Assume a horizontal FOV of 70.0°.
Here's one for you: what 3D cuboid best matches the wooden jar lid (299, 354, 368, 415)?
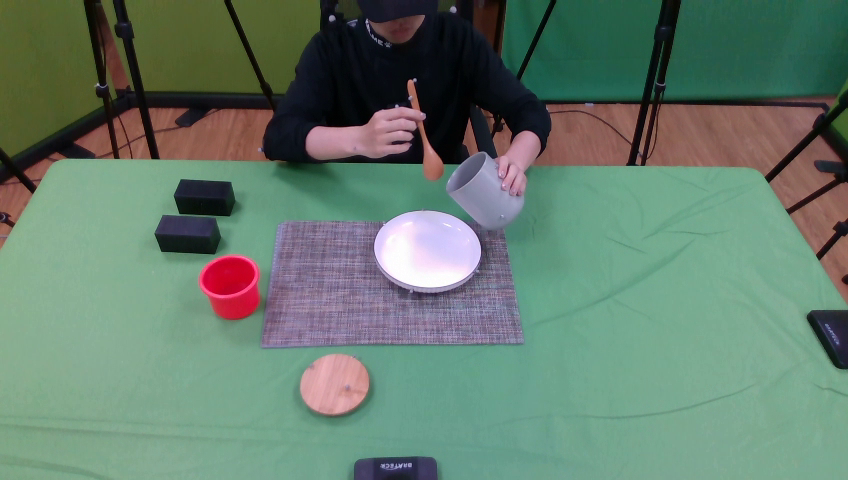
[{"bbox_3d":[-0.143,0.232,0.964,0.108,0.021,0.107,2,45,-2],"label":"wooden jar lid"}]

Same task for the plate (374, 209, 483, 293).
[{"bbox_3d":[0.008,0.024,1.158,0.208,0.039,0.206,2,46,-2],"label":"plate"}]

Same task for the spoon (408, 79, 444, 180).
[{"bbox_3d":[-0.002,-0.199,1.108,0.041,0.194,0.021,-21,22,-9],"label":"spoon"}]

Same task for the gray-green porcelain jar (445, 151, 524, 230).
[{"bbox_3d":[0.119,-0.089,1.150,0.127,0.106,0.105,42,43,-22],"label":"gray-green porcelain jar"}]
